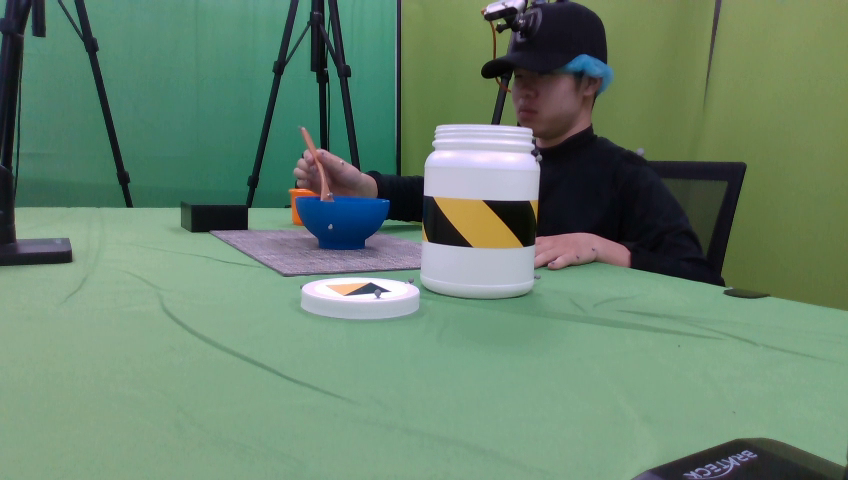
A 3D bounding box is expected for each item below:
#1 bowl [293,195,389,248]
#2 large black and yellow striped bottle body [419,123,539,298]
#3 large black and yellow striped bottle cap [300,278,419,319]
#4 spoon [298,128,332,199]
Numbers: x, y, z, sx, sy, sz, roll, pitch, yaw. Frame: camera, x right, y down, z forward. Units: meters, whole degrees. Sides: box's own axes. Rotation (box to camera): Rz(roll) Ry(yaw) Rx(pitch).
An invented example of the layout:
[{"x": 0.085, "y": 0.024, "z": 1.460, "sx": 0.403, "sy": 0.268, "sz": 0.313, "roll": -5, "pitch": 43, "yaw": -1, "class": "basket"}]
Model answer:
[{"x": -0.132, "y": -0.030, "z": 0.961, "sx": 0.151, "sy": 0.077, "sz": 0.151, "roll": 2, "pitch": 7, "yaw": 0, "class": "bowl"}, {"x": 0.062, "y": -0.036, "z": 0.683, "sx": 0.131, "sy": 0.184, "sz": 0.130, "roll": 2, "pitch": 7, "yaw": 0, "class": "large black and yellow striped bottle body"}, {"x": -0.062, "y": 0.055, "z": 0.588, "sx": 0.115, "sy": 0.019, "sz": 0.115, "roll": 1, "pitch": 6, "yaw": 0, "class": "large black and yellow striped bottle cap"}, {"x": -0.176, "y": -0.111, "z": 1.013, "sx": 0.021, "sy": 0.193, "sz": 0.042, "roll": -32, "pitch": -22, "yaw": 32, "class": "spoon"}]
